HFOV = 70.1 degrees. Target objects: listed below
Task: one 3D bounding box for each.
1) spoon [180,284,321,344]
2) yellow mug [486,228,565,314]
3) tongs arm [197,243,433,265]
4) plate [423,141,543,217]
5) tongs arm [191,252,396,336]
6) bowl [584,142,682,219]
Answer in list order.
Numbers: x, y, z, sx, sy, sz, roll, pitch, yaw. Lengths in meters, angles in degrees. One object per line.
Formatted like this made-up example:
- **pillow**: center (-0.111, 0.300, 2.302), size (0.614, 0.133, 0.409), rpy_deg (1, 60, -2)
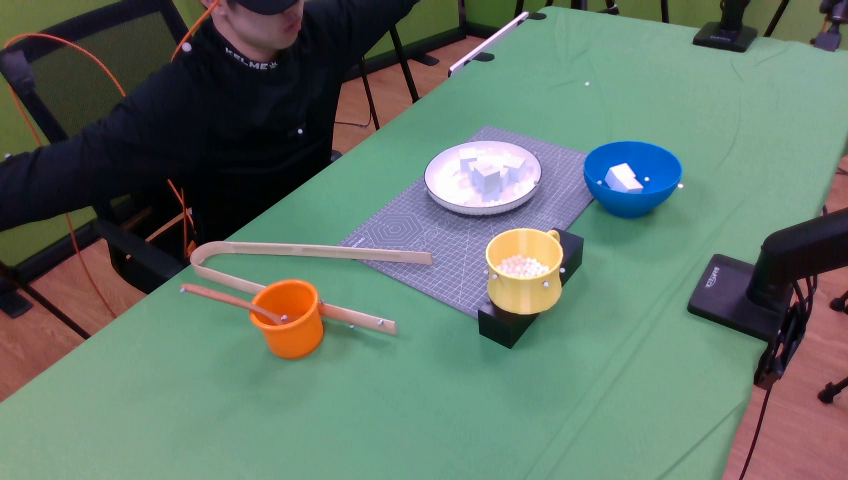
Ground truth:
- **spoon**: center (-0.223, 0.094, 0.794), size (0.021, 0.195, 0.041), rpy_deg (-43, 33, 28)
- **yellow mug**: center (0.142, 0.031, 0.801), size (0.099, 0.064, 0.131), rpy_deg (28, 51, 34)
- **tongs arm**: center (-0.177, 0.025, 0.960), size (0.386, 0.028, 0.028), rpy_deg (2, 45, 12)
- **plate**: center (0.103, -0.103, 1.059), size (0.207, 0.039, 0.206), rpy_deg (-4, 40, 4)
- **tongs arm**: center (-0.204, 0.075, 0.902), size (0.382, 0.026, 0.051), rpy_deg (10, 44, 22)
- **bowl**: center (0.333, -0.087, 0.980), size (0.151, 0.077, 0.150), rpy_deg (-4, 40, 3)
